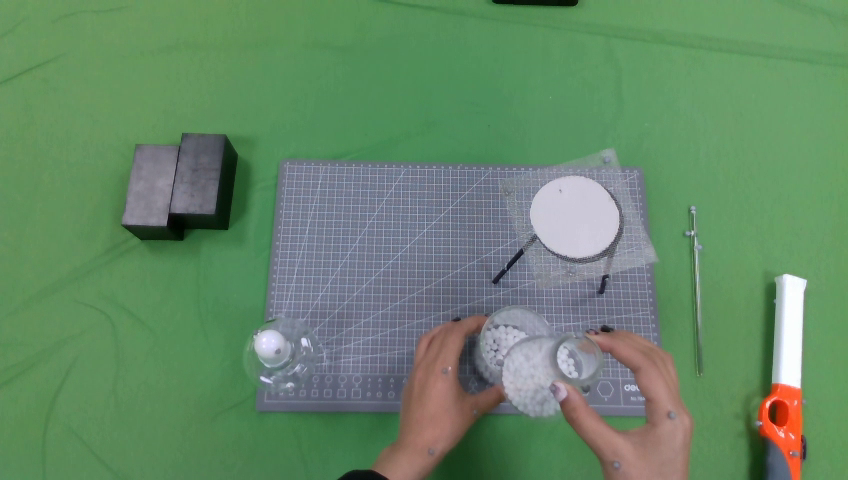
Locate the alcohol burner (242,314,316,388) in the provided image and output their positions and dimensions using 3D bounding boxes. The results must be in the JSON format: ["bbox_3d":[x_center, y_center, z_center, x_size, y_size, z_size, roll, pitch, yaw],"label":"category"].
[{"bbox_3d":[-0.151,0.111,0.620,0.078,0.119,0.077,1,73,-3],"label":"alcohol burner"}]

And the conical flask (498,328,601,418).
[{"bbox_3d":[0.105,0.102,0.488,0.075,0.122,0.075,1,71,-3],"label":"conical flask"}]

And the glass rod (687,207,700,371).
[{"bbox_3d":[0.316,0.053,0.711,0.008,0.008,0.198,6,72,0],"label":"glass rod"}]

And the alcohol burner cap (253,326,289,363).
[{"bbox_3d":[-0.149,0.099,0.586,0.034,0.048,0.033,2,70,-6],"label":"alcohol burner cap"}]

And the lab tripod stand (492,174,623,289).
[{"bbox_3d":[0.147,-0.002,0.655,0.148,0.132,0.147,0,74,-1],"label":"lab tripod stand"}]

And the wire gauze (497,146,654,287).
[{"bbox_3d":[0.147,-0.024,0.591,0.125,0.011,0.120,-15,75,-5],"label":"wire gauze"}]

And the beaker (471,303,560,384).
[{"bbox_3d":[0.091,0.112,0.635,0.084,0.101,0.073,-2,72,-3],"label":"beaker"}]

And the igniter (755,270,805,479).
[{"bbox_3d":[0.394,0.167,0.667,0.057,0.025,0.275,16,72,-7],"label":"igniter"}]
